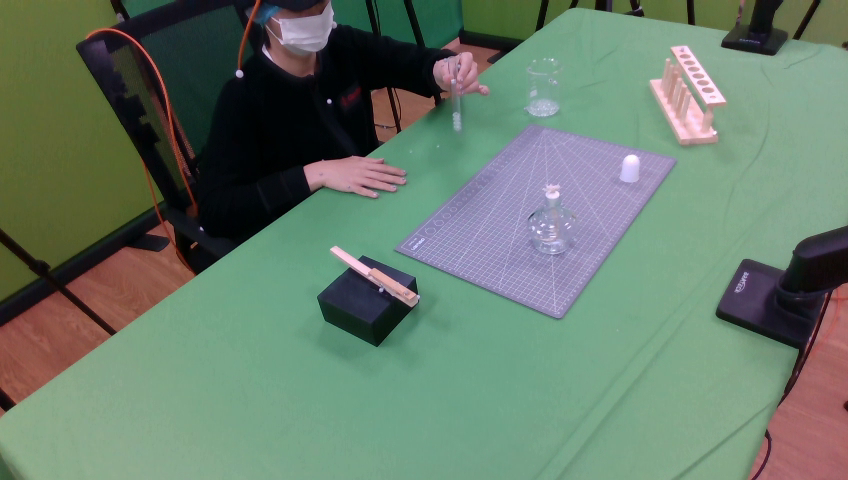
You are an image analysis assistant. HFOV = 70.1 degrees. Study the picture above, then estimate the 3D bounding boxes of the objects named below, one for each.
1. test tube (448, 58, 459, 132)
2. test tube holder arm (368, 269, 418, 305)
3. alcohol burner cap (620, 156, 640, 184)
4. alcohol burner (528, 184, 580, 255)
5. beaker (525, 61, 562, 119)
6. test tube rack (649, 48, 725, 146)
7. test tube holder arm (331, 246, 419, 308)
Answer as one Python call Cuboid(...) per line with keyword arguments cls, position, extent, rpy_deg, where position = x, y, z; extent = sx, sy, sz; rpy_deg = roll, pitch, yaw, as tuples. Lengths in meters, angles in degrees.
Cuboid(cls="test tube", position=(0.053, -0.249, 1.056), extent=(0.017, 0.151, 0.017), rpy_deg=(-2, 49, 3))
Cuboid(cls="test tube holder arm", position=(-0.043, 0.063, 0.827), extent=(0.015, 0.010, 0.087), rpy_deg=(-36, 47, -29))
Cuboid(cls="alcohol burner cap", position=(0.358, -0.124, 1.047), extent=(0.034, 0.048, 0.033), rpy_deg=(-4, 40, 4))
Cuboid(cls="alcohol burner", position=(0.196, -0.036, 0.911), extent=(0.078, 0.119, 0.077), rpy_deg=(-6, 41, 5))
Cuboid(cls="beaker", position=(0.248, -0.309, 1.245), extent=(0.073, 0.101, 0.084), rpy_deg=(29, 52, 36))
Cuboid(cls="test tube rack", position=(0.508, -0.285, 1.186), extent=(0.067, 0.085, 0.241), rpy_deg=(-4, 40, 6))
Cuboid(cls="test tube holder arm", position=(-0.074, 0.050, 0.858), extent=(0.015, 0.013, 0.177), rpy_deg=(-36, 47, -29))
